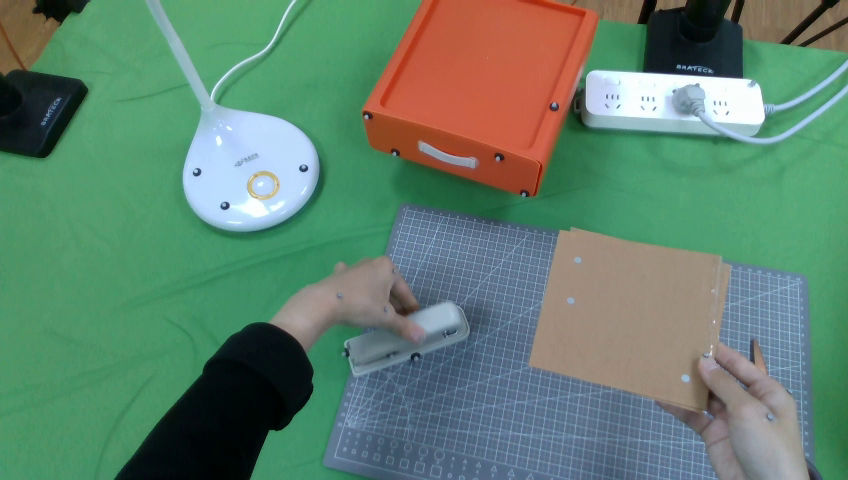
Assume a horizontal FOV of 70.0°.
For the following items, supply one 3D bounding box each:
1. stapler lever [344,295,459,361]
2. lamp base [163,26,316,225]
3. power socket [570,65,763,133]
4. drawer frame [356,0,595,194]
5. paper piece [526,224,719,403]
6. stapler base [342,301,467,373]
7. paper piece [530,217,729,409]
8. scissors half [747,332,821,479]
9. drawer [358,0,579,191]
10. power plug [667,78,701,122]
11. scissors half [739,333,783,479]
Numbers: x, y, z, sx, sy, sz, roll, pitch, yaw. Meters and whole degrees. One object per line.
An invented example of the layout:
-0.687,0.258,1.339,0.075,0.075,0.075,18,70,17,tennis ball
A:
-0.022,0.086,0.599,0.118,0.040,0.026,-19,65,-5,stapler lever
-0.221,-0.131,0.659,0.160,0.182,0.177,-40,66,-16,lamp base
0.295,-0.172,0.739,0.226,0.033,0.071,5,65,5,power socket
0.061,-0.183,0.682,0.201,0.083,0.212,19,67,12,drawer frame
0.165,0.053,0.499,0.135,0.009,0.137,10,63,18,paper piece
-0.020,0.095,0.622,0.130,0.024,0.041,-19,66,-5,stapler base
0.174,0.055,0.509,0.134,0.004,0.135,18,68,18,paper piece
0.337,0.171,0.578,0.040,0.013,0.173,-3,62,-6,scissors half
0.060,-0.179,0.677,0.194,0.074,0.210,19,65,12,drawer
0.300,-0.156,0.705,0.035,0.053,0.072,15,66,10,power plug
0.317,0.169,0.577,0.040,0.013,0.174,14,61,-2,scissors half
